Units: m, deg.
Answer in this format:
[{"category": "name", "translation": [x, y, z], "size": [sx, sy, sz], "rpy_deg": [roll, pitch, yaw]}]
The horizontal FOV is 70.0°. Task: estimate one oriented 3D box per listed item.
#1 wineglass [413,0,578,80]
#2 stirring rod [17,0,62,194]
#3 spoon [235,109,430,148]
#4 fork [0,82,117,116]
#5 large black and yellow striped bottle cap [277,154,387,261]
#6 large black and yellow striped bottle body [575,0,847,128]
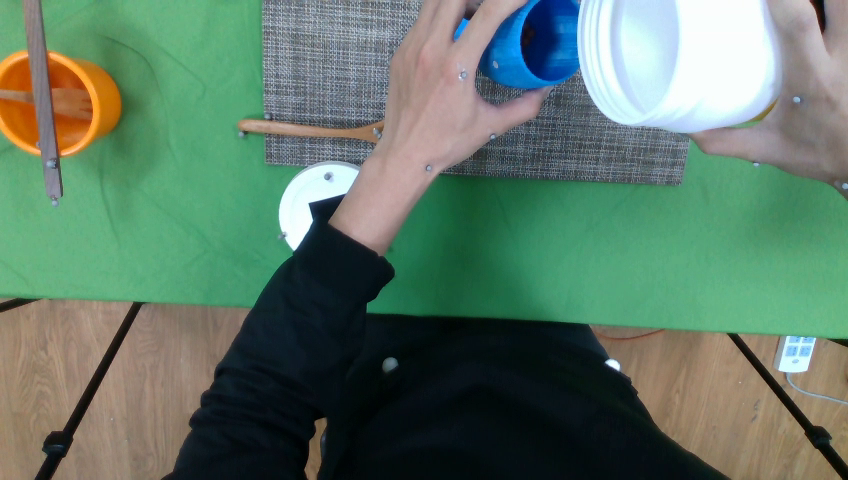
[{"category": "wineglass", "translation": [0.054, -0.170, 0.500], "size": [0.074, 0.170, 0.074], "rpy_deg": [-8, 108, -23]}, {"category": "stirring rod", "translation": [-0.326, -0.126, 0.513], "size": [0.014, 0.006, 0.177], "rpy_deg": [1, 108, -5]}, {"category": "spoon", "translation": [-0.091, -0.116, 0.606], "size": [0.194, 0.021, 0.042], "rpy_deg": [1, 128, -6]}, {"category": "fork", "translation": [-0.368, -0.131, 0.510], "size": [0.208, 0.018, 0.028], "rpy_deg": [-1, 121, -51]}, {"category": "large black and yellow striped bottle cap", "translation": [-0.096, -0.033, 0.639], "size": [0.115, 0.018, 0.115], "rpy_deg": [-2, 112, -5]}, {"category": "large black and yellow striped bottle body", "translation": [0.208, -0.148, 0.404], "size": [0.184, 0.129, 0.131], "rpy_deg": [-12, 109, -16]}]
